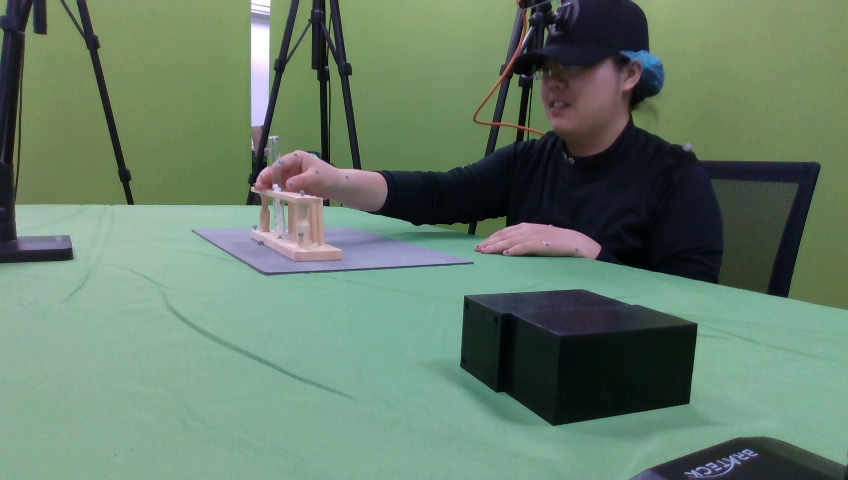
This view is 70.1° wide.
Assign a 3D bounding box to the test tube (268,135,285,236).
[{"bbox_3d":[-0.220,-0.081,0.902,0.017,0.150,0.017,-2,5,1],"label":"test tube"}]

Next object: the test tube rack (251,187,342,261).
[{"bbox_3d":[-0.196,-0.030,0.902,0.067,0.085,0.241,-2,8,-29],"label":"test tube rack"}]
